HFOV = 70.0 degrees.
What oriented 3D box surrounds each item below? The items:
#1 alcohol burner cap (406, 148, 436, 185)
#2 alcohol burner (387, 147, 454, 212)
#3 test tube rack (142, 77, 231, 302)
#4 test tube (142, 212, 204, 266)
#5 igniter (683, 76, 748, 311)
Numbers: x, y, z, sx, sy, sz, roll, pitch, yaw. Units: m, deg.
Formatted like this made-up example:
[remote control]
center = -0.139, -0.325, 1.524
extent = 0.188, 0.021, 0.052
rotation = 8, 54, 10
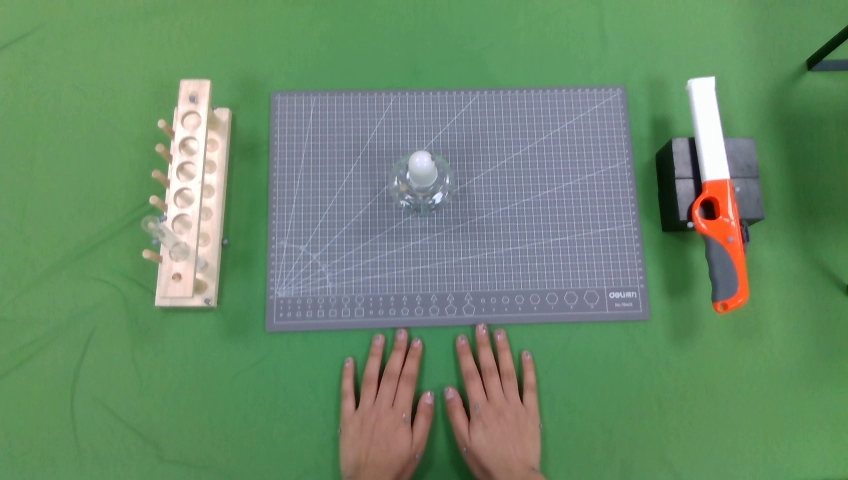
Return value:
[alcohol burner cap]
center = -0.004, -0.082, 0.649
extent = 0.034, 0.048, 0.033
rotation = 0, 77, 1
[alcohol burner]
center = -0.004, -0.073, 0.684
extent = 0.078, 0.119, 0.077
rotation = 0, 79, -1
[test tube rack]
center = -0.273, -0.054, 0.688
extent = 0.067, 0.085, 0.241
rotation = 1, 78, -1
[test tube]
center = -0.256, 0.002, 0.626
extent = 0.017, 0.151, 0.017
rotation = 1, 73, -3
[igniter]
center = 0.330, -0.057, 0.692
extent = 0.057, 0.025, 0.275
rotation = -4, 77, 8
